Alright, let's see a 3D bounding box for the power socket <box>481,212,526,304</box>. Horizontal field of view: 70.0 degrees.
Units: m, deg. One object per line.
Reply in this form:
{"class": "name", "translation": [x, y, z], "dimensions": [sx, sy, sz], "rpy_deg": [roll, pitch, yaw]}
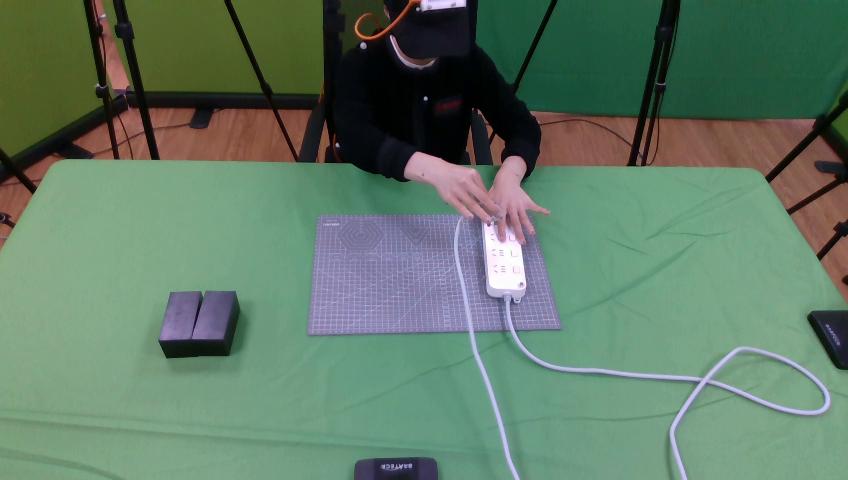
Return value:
{"class": "power socket", "translation": [0.152, 0.025, 1.173], "dimensions": [0.072, 0.033, 0.225], "rpy_deg": [2, 46, -1]}

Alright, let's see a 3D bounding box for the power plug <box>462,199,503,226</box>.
{"class": "power plug", "translation": [0.104, -0.049, 1.076], "dimensions": [0.072, 0.053, 0.035], "rpy_deg": [4, 36, 4]}
